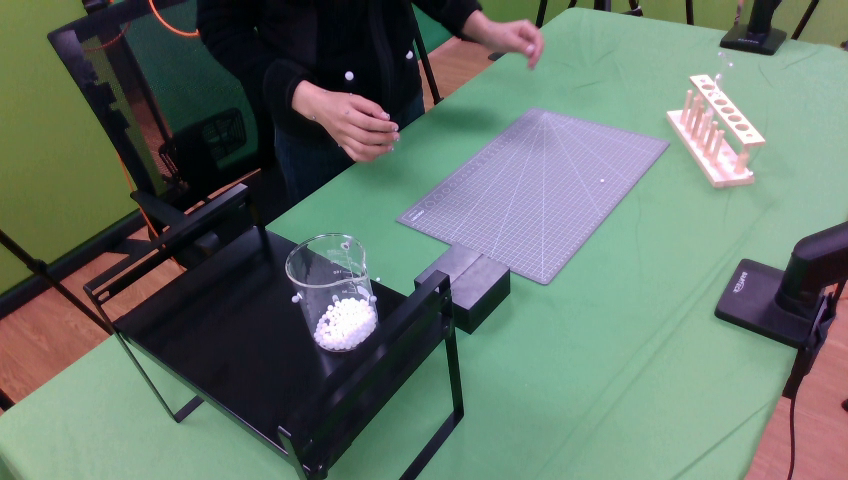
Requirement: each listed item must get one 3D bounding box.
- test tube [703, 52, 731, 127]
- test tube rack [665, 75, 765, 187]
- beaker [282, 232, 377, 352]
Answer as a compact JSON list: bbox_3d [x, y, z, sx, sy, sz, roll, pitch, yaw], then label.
[{"bbox_3d":[0.521,-0.264,1.078,0.017,0.151,0.017,-4,46,5],"label":"test tube"},{"bbox_3d":[0.512,-0.201,1.082,0.067,0.085,0.241,-5,41,2],"label":"test tube rack"},{"bbox_3d":[-0.084,0.054,0.587,0.083,0.101,0.074,17,47,25],"label":"beaker"}]
